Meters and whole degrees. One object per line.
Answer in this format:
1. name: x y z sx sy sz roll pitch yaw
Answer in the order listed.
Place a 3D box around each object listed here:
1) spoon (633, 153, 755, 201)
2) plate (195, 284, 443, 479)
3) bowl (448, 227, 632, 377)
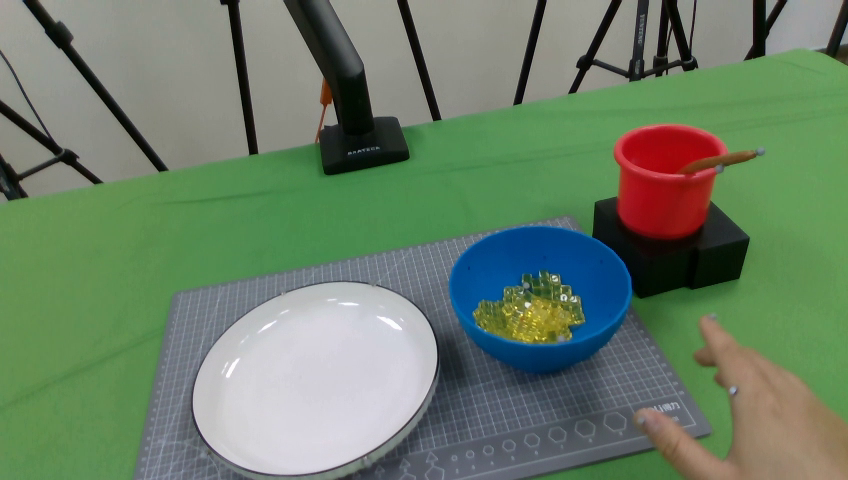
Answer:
1. spoon: 0.227 -0.054 0.524 0.041 0.021 0.194 -6 -6 0
2. plate: -0.086 0.119 0.521 0.207 0.039 0.205 -5 38 4
3. bowl: 0.098 0.064 0.525 0.151 0.077 0.150 -5 38 4
